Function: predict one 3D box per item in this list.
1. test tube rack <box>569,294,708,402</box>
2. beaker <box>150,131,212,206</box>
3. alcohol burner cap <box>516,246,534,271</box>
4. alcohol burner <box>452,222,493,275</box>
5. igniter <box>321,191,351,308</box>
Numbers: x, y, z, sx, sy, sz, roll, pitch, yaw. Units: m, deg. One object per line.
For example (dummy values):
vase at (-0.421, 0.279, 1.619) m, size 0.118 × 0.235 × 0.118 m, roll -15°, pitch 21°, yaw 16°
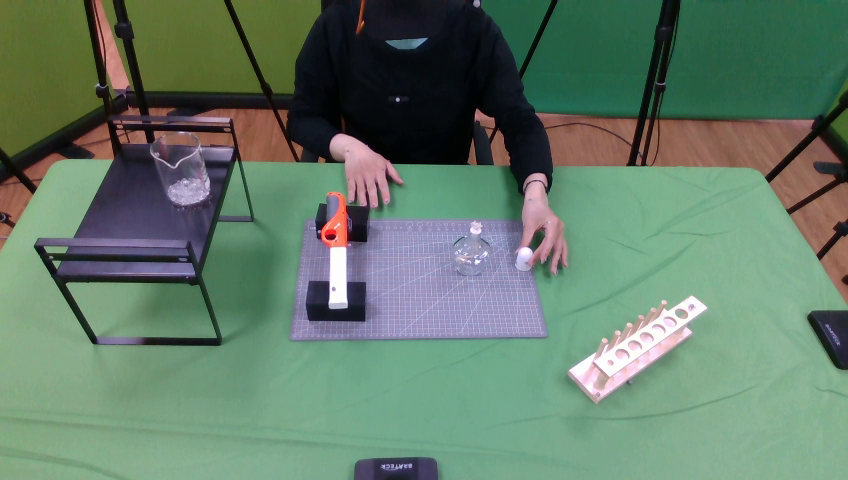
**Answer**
test tube rack at (0.360, 0.167, 1.014) m, size 0.242 × 0.085 × 0.066 m, roll -25°, pitch 53°, yaw -25°
beaker at (-0.385, -0.110, 0.969) m, size 0.074 × 0.101 × 0.083 m, roll -6°, pitch 48°, yaw -9°
alcohol burner cap at (0.194, 0.032, 1.158) m, size 0.034 × 0.048 × 0.033 m, roll 1°, pitch 46°, yaw -1°
alcohol burner at (0.091, 0.009, 1.124) m, size 0.078 × 0.119 × 0.077 m, roll 2°, pitch 48°, yaw -2°
igniter at (-0.159, 0.008, 1.101) m, size 0.057 × 0.025 × 0.274 m, roll -2°, pitch 48°, yaw -7°
